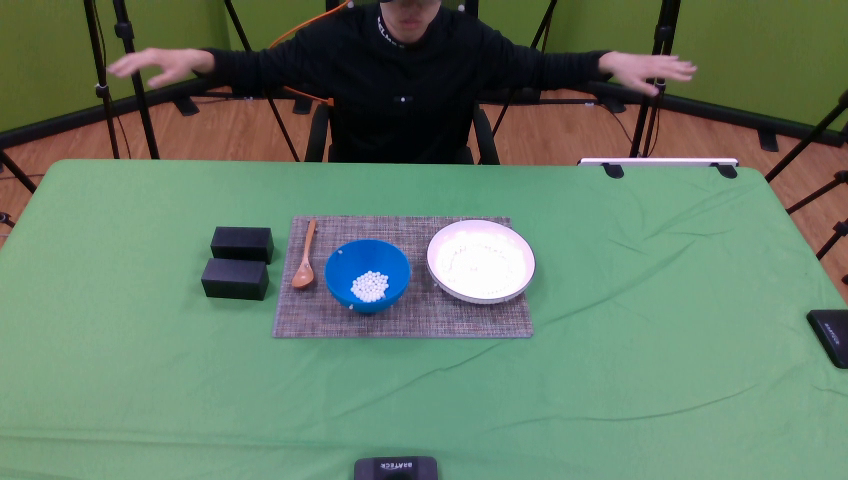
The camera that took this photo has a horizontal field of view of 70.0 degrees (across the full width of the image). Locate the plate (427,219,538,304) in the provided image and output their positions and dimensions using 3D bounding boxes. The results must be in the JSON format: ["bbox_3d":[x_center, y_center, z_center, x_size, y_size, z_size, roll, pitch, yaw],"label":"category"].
[{"bbox_3d":[0.109,0.044,1.149,0.208,0.039,0.206,2,46,-2],"label":"plate"}]

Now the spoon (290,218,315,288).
[{"bbox_3d":[-0.224,0.021,1.156,0.041,0.022,0.192,-11,46,10],"label":"spoon"}]

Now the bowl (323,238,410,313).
[{"bbox_3d":[-0.101,0.077,1.073,0.151,0.077,0.150,2,46,-2],"label":"bowl"}]
